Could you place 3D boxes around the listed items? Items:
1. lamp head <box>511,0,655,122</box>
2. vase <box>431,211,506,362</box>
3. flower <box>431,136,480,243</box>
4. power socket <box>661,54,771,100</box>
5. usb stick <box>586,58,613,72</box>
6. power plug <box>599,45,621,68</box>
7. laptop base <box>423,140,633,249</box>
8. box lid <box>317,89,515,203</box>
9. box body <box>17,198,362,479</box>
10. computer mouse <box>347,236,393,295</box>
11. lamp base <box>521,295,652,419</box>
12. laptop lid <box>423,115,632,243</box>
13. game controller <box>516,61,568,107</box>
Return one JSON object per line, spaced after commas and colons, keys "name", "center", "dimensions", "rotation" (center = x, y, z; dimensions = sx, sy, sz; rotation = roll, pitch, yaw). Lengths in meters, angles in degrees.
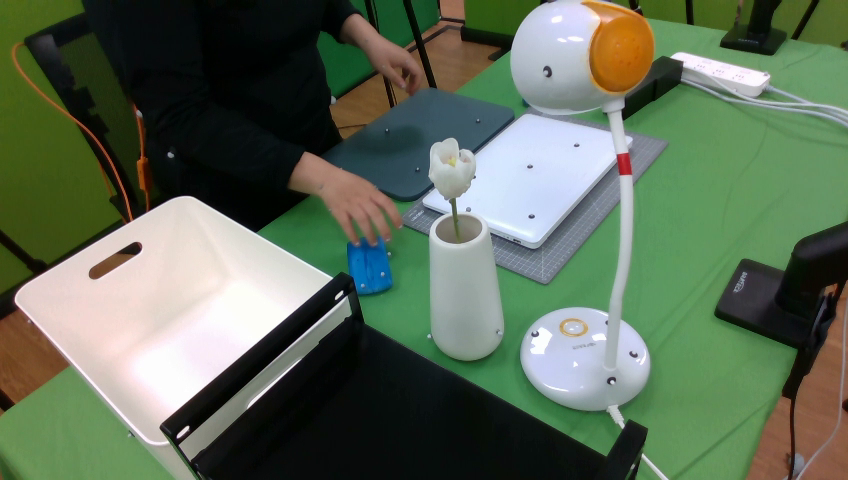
{"name": "lamp head", "center": [0.155, -0.168, 0.563], "dimensions": [0.113, 0.113, 0.122], "rotation": [-18, 23, -12]}
{"name": "vase", "center": [0.054, 0.062, 0.757], "dimensions": [0.098, 0.201, 0.097], "rotation": [-3, 40, 3]}
{"name": "flower", "center": [0.041, 0.011, 0.691], "dimensions": [0.044, 0.363, 0.038], "rotation": [16, 62, 14]}
{"name": "power socket", "center": [0.615, -0.349, 1.285], "dimensions": [0.072, 0.033, 0.225], "rotation": [-36, 48, -28]}
{"name": "usb stick", "center": [0.401, -0.399, 1.380], "dimensions": [0.059, 0.027, 0.021], "rotation": [1, 48, 20]}
{"name": "power plug", "center": [0.437, -0.422, 1.412], "dimensions": [0.053, 0.035, 0.072], "rotation": [-17, 74, -47]}
{"name": "laptop base", "center": [0.194, -0.117, 1.087], "dimensions": [0.233, 0.023, 0.355], "rotation": [20, 47, 34]}
{"name": "box lid", "center": [-0.009, -0.207, 1.236], "dimensions": [0.261, 0.015, 0.372], "rotation": [23, 49, 32]}
{"name": "box body", "center": [-0.285, 0.123, 0.766], "dimensions": [0.361, 0.161, 0.255], "rotation": [25, 49, 33]}
{"name": "computer mouse", "center": [-0.086, 0.035, 0.936], "dimensions": [0.063, 0.041, 0.116], "rotation": [-9, 44, -5]}
{"name": "lamp base", "center": [0.201, 0.095, 0.710], "dimensions": [0.161, 0.181, 0.177], "rotation": [-16, 43, -10]}
{"name": "laptop lid", "center": [0.190, -0.126, 1.081], "dimensions": [0.239, 0.013, 0.358], "rotation": [23, 48, 34]}
{"name": "game controller", "center": [0.259, -0.352, 1.336], "dimensions": [0.097, 0.052, 0.154], "rotation": [-3, 41, 2]}
